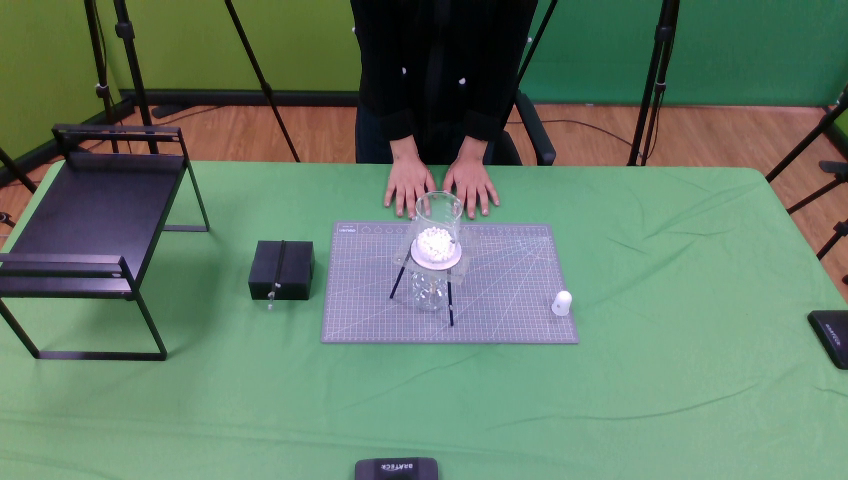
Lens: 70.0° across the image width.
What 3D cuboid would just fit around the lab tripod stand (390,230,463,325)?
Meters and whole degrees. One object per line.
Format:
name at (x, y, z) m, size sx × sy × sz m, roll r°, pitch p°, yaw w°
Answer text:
lab tripod stand at (0.014, 0.060, 1.056) m, size 0.148 × 0.132 × 0.147 m, roll 1°, pitch 48°, yaw -1°

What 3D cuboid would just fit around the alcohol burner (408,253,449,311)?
alcohol burner at (0.011, 0.069, 1.061) m, size 0.078 × 0.120 × 0.077 m, roll 1°, pitch 46°, yaw 0°

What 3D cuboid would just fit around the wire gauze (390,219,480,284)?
wire gauze at (0.020, 0.013, 1.011) m, size 0.125 × 0.011 × 0.121 m, roll 14°, pitch 46°, yaw 14°

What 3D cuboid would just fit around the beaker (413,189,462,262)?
beaker at (0.022, -0.018, 0.973) m, size 0.074 × 0.101 × 0.083 m, roll -19°, pitch 51°, yaw -19°

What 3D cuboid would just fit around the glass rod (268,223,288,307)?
glass rod at (-0.259, 0.041, 1.080) m, size 0.008 × 0.008 × 0.198 m, roll 2°, pitch 46°, yaw -2°

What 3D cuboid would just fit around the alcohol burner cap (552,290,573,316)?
alcohol burner cap at (0.250, 0.109, 1.088) m, size 0.034 × 0.048 × 0.033 m, roll 3°, pitch 46°, yaw -3°
